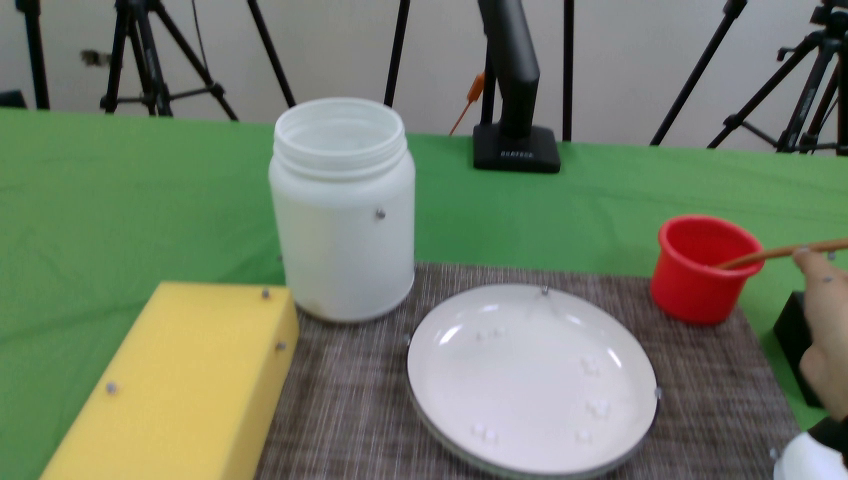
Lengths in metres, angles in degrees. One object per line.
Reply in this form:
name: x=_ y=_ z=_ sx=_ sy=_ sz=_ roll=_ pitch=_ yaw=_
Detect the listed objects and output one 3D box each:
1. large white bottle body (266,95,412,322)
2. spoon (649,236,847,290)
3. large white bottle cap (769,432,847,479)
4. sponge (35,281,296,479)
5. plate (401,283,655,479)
large white bottle body: x=-0.076 y=-0.029 z=0.571 sx=0.131 sy=0.186 sz=0.129 roll=2 pitch=38 yaw=-1
spoon: x=0.301 y=0.021 z=0.568 sx=0.041 sy=0.193 sz=0.022 roll=-36 pitch=98 yaw=-40
large white bottle cap: x=0.319 y=0.195 z=0.447 sx=0.115 sy=0.018 sz=0.113 roll=4 pitch=38 yaw=-3
sponge: x=-0.183 y=0.122 z=0.472 sx=0.118 sy=0.061 sz=0.205 roll=2 pitch=37 yaw=2
plate: x=0.085 y=0.117 z=0.513 sx=0.209 sy=0.038 sz=0.207 roll=2 pitch=37 yaw=-1
